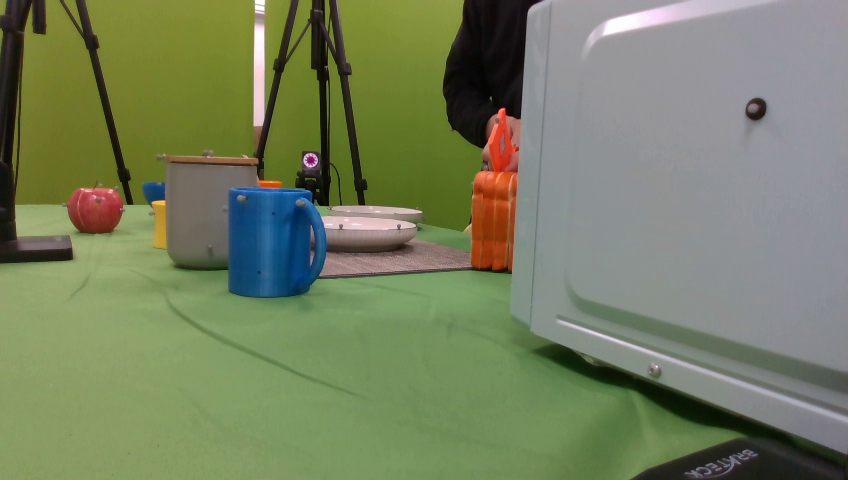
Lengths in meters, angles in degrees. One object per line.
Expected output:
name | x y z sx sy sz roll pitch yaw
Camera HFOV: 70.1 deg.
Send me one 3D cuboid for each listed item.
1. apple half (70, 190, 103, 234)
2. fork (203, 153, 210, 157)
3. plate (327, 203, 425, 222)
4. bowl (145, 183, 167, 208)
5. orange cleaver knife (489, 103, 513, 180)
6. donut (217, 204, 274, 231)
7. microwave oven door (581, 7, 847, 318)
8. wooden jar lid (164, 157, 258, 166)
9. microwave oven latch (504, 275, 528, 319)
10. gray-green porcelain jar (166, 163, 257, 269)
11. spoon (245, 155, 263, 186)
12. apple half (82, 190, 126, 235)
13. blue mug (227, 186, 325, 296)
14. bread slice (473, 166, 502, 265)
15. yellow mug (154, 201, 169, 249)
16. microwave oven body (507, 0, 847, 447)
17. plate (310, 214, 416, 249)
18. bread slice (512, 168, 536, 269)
apple half | -0.552 -0.047 1.009 0.053 0.074 0.081 -1 9 26
fork | -0.480 -0.135 1.411 0.028 0.018 0.207 1 -34 0
plate | -0.102 -0.053 1.299 0.209 0.038 0.209 2 8 0
bowl | -0.459 -0.068 1.175 0.151 0.077 0.151 3 7 0
orange cleaver knife | 0.117 -0.128 0.877 0.012 0.077 0.212 10 -9 17
donut | -0.318 -0.038 1.080 0.099 0.048 0.099 3 7 0
microwave oven door | 0.295 -0.067 0.569 0.358 0.243 0.039 -3 8 -31
wooden jar lid | -0.261 -0.093 0.746 0.108 0.020 0.108 0 9 0
microwave oven latch | 0.100 0.042 0.471 0.079 0.029 0.030 -1 7 -28
gray-green porcelain jar | -0.263 -0.031 0.754 0.106 0.126 0.106 2 7 0
spoon | -0.421 -0.150 1.540 0.042 0.021 0.193 -5 55 -37
apple half | -0.516 -0.046 0.994 0.032 0.081 0.081 0 6 26
blue mug | -0.146 0.000 0.618 0.116 0.106 0.083 7 9 32
bread slice | 0.088 -0.036 0.841 0.019 0.131 0.105 0 5 20
yellow mug | -0.337 -0.022 0.899 0.130 0.064 0.100 8 9 34
microwave oven body | 0.331 -0.042 0.425 0.444 0.260 0.324 -2 8 -31
plate | -0.117 -0.014 0.967 0.208 0.039 0.207 2 7 0
bread slice | 0.136 -0.030 0.821 0.018 0.134 0.107 -1 7 18
